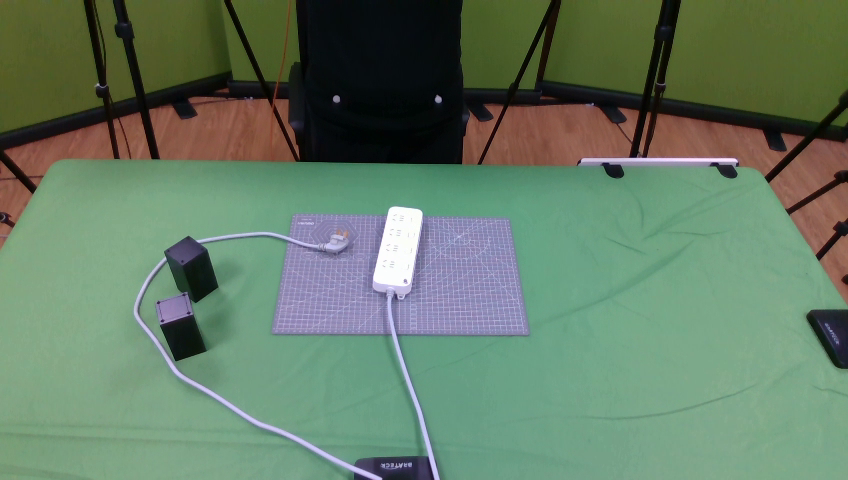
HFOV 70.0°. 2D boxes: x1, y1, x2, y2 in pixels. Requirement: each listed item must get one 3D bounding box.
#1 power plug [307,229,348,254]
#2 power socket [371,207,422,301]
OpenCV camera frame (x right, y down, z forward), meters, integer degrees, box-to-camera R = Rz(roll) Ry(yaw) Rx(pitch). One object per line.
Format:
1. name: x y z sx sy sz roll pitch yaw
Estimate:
1. power plug: -0.183 -0.002 1.167 0.072 0.035 0.052 16 65 -4
2. power socket: -0.051 0.018 1.165 0.072 0.033 0.225 6 46 3
